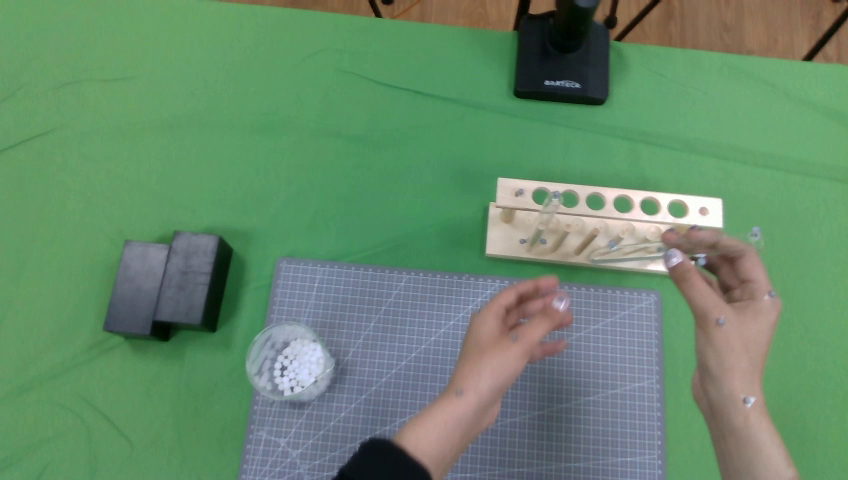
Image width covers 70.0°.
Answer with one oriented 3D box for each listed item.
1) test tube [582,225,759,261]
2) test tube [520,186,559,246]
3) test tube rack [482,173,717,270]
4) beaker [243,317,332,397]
[{"bbox_3d":[0.194,0.004,0.496,0.017,0.150,0.017,6,80,-39],"label":"test tube"},{"bbox_3d":[0.120,-0.022,0.640,0.017,0.151,0.017,0,72,0],"label":"test tube"},{"bbox_3d":[0.193,-0.019,0.687,0.242,0.085,0.066,5,72,0],"label":"test tube rack"},{"bbox_3d":[-0.132,0.125,0.625,0.084,0.101,0.073,5,73,0],"label":"beaker"}]
